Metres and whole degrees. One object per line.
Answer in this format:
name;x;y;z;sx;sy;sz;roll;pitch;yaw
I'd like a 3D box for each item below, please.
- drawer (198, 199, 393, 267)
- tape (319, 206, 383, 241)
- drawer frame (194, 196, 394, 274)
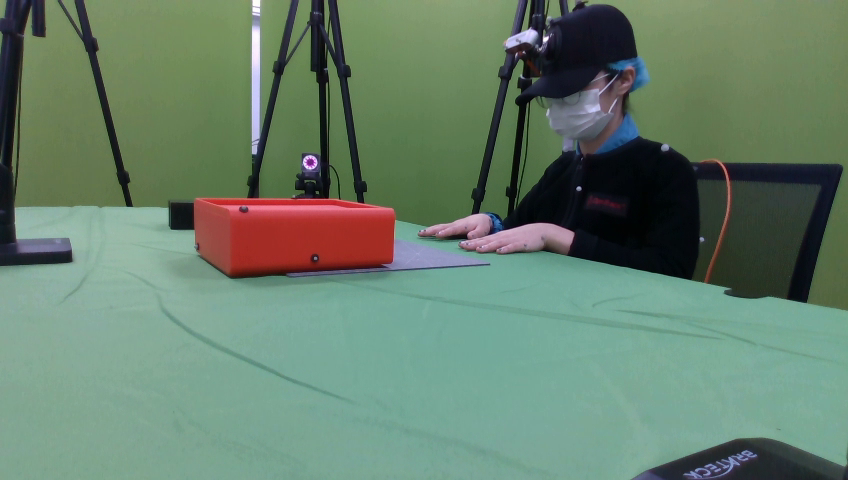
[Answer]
drawer;-0.177;-0.014;0.817;0.213;0.073;0.193;-3;9;-31
tape;-0.129;-0.030;1.076;0.117;0.052;0.117;2;8;0
drawer frame;-0.178;-0.014;0.815;0.215;0.082;0.200;-4;9;-32
